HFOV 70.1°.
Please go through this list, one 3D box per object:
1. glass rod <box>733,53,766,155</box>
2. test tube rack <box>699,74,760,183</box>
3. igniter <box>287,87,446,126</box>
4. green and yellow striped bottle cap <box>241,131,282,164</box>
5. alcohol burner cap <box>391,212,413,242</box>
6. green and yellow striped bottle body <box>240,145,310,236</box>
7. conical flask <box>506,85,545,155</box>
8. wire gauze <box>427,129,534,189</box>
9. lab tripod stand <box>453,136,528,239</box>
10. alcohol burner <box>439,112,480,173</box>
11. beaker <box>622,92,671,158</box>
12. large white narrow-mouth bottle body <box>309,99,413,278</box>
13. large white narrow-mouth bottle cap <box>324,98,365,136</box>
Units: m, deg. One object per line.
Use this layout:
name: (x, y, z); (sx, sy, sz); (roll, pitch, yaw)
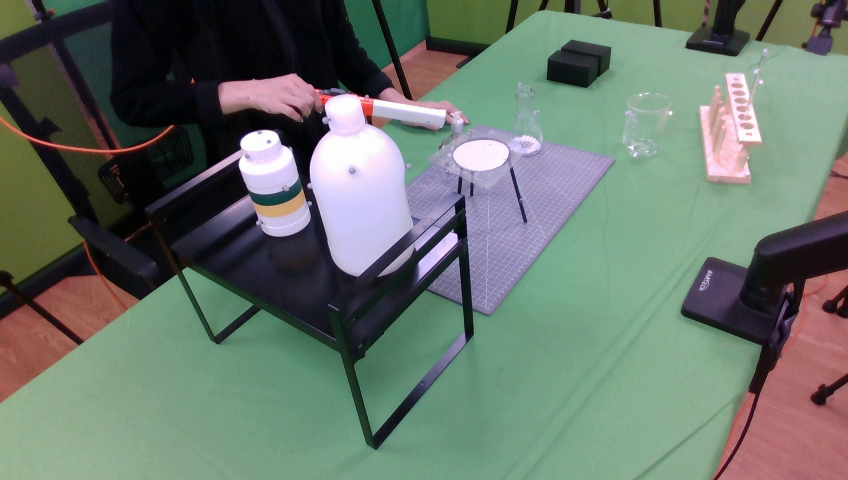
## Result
glass rod: (0.540, -0.220, 1.006); (0.008, 0.201, 0.008); (-5, 45, 6)
test tube rack: (0.547, -0.208, 1.095); (0.066, 0.085, 0.242); (6, 42, 16)
igniter: (-0.100, -0.233, 1.058); (0.277, 0.057, 0.025); (7, 54, -4)
green and yellow striped bottle cap: (-0.187, -0.107, 0.695); (0.045, 0.020, 0.045); (-3, 39, 3)
alcohol burner cap: (-0.038, -0.023, 0.989); (0.034, 0.048, 0.033); (-5, 40, 4)
green and yellow striped bottle body: (-0.181, -0.068, 0.729); (0.063, 0.120, 0.063); (-4, 40, 4)
conical flask: (0.190, -0.227, 1.134); (0.075, 0.122, 0.075); (-4, 41, 4)
wire gauze: (0.086, -0.131, 0.923); (0.124, 0.011, 0.122); (26, 52, 33)
lab tripod stand: (0.094, -0.086, 0.974); (0.148, 0.132, 0.147); (-4, 43, 4)
alcohol burner: (0.064, -0.183, 1.107); (0.078, 0.119, 0.077); (-4, 43, 4)
beaker: (0.402, -0.209, 1.106); (0.074, 0.101, 0.083); (-9, 40, -2)
large white narrow-mouth bottle body: (-0.068, -0.057, 0.644); (0.102, 0.195, 0.101); (-3, 42, 4)
large white narrow-mouth bottle cap: (-0.076, -0.120, 0.585); (0.038, 0.024, 0.037); (-3, 42, 3)
